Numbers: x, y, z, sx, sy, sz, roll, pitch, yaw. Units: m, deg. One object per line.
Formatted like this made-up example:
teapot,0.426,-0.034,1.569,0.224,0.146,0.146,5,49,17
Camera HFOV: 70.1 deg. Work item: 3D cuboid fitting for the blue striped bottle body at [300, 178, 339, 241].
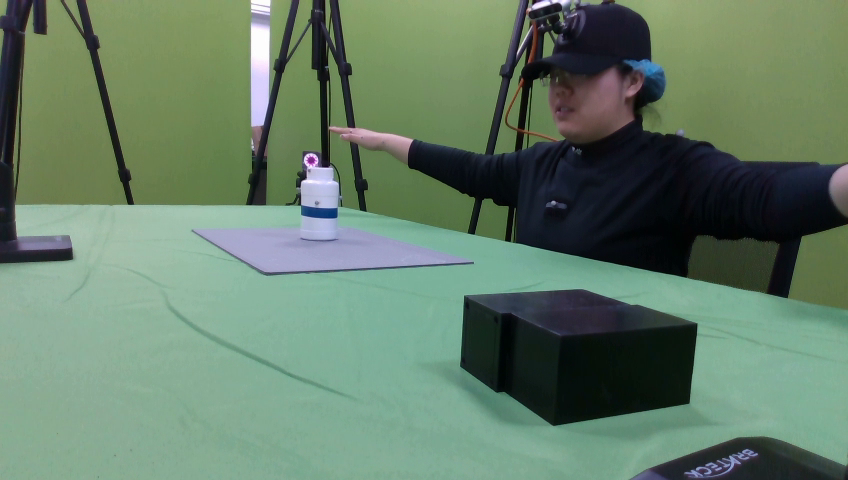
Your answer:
blue striped bottle body,-0.176,-0.062,1.018,0.063,0.120,0.063,3,7,0

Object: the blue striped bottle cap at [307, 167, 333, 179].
blue striped bottle cap,-0.174,-0.112,1.011,0.044,0.020,0.044,2,6,0
